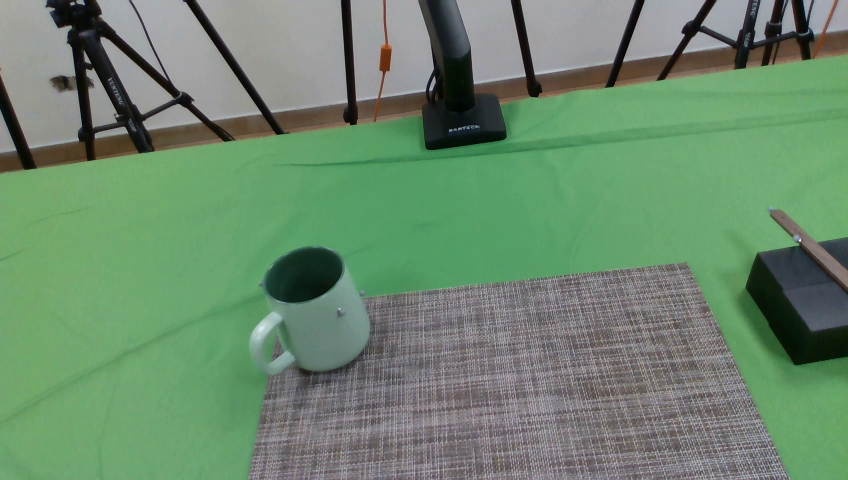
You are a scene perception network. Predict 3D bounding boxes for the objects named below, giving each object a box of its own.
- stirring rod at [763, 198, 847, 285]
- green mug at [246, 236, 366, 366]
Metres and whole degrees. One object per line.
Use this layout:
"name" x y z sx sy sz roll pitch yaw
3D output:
"stirring rod" 0.378 0.015 0.568 0.014 0.006 0.174 -13 44 -7
"green mug" -0.121 0.070 0.595 0.092 0.106 0.125 24 53 30
